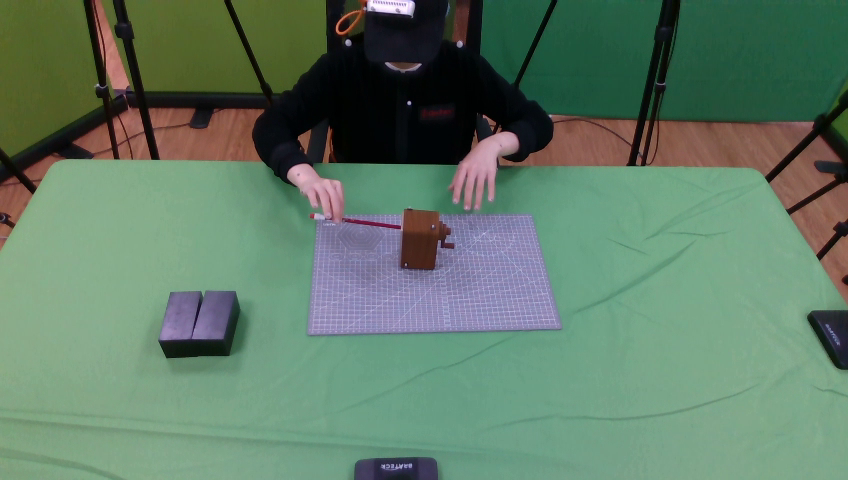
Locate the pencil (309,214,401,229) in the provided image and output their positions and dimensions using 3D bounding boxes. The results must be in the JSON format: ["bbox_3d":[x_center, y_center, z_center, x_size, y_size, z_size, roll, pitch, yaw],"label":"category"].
[{"bbox_3d":[-0.114,-0.032,1.110,0.194,0.012,0.012,7,46,-1],"label":"pencil"}]

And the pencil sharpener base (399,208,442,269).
[{"bbox_3d":[-0.006,0.000,1.134,0.077,0.107,0.061,3,45,-2],"label":"pencil sharpener base"}]

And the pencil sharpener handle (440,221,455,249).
[{"bbox_3d":[0.045,-0.007,1.128,0.030,0.068,0.036,4,52,-2],"label":"pencil sharpener handle"}]
